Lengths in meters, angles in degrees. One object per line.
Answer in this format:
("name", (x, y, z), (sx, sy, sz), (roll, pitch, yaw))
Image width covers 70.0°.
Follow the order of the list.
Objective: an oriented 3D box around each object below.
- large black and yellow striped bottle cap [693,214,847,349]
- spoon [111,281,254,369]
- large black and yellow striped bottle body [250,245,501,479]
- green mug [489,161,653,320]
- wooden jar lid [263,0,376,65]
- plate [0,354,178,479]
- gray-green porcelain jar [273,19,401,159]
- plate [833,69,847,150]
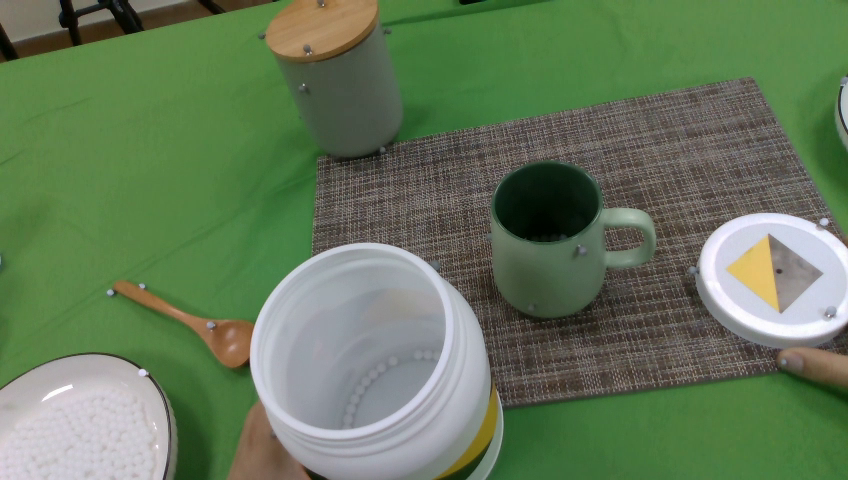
("large black and yellow striped bottle cap", (0.271, 0.029, 0.470), (0.115, 0.019, 0.114), (-7, 54, 9))
("spoon", (-0.223, 0.069, 0.551), (0.192, 0.022, 0.041), (19, 78, 24))
("large black and yellow striped bottle body", (-0.022, 0.094, 0.385), (0.130, 0.186, 0.129), (-5, 58, 9))
("green mug", (0.111, 0.002, 0.469), (0.125, 0.106, 0.091), (-2, 55, 11))
("wooden jar lid", (-0.095, -0.194, 0.563), (0.108, 0.021, 0.107), (-8, 53, 11))
("plate", (-0.286, 0.190, 0.470), (0.209, 0.038, 0.207), (-6, 54, 8))
("gray-green porcelain jar", (-0.083, -0.154, 0.611), (0.106, 0.128, 0.105), (-6, 50, 8))
("plate", (0.458, -0.096, 0.508), (0.207, 0.039, 0.205), (-6, 54, 9))
